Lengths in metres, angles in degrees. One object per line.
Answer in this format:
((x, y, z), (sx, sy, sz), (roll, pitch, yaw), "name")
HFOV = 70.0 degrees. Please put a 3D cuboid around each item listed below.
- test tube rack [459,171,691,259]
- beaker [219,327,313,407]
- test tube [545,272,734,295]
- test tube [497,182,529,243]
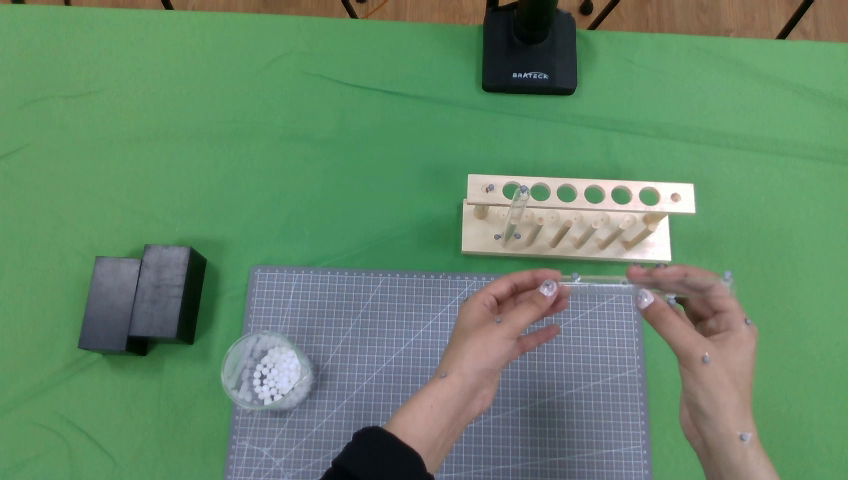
((0.164, -0.026, 0.684), (0.242, 0.085, 0.066), (2, 73, 0), "test tube rack")
((-0.153, 0.133, 0.621), (0.084, 0.101, 0.073), (2, 73, -1), "beaker")
((0.164, 0.034, 0.483), (0.149, 0.017, 0.017), (-2, 68, 39), "test tube")
((0.092, -0.026, 0.636), (0.017, 0.151, 0.017), (0, 72, 0), "test tube")
